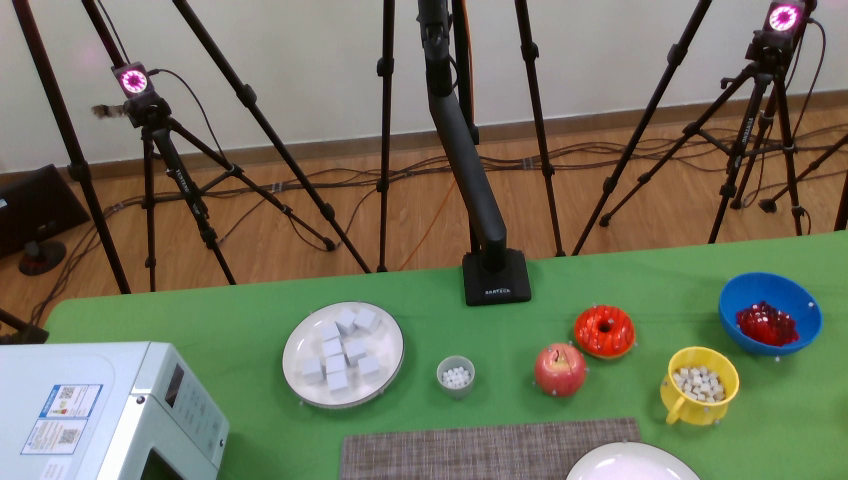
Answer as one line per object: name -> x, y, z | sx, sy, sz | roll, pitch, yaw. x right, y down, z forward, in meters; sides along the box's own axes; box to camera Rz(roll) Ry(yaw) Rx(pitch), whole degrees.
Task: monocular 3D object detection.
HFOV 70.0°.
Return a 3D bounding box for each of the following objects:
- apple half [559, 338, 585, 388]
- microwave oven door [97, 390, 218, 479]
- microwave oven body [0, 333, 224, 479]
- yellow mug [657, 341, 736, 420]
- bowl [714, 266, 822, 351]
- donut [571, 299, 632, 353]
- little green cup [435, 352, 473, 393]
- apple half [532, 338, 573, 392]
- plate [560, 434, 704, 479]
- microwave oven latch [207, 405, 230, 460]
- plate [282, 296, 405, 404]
apple half -> 0.237, 0.193, 0.957 | 0.033, 0.082, 0.080 | -14, 48, 1
microwave oven door -> -0.343, 0.392, 0.713 | 0.039, 0.246, 0.352 | -3, 48, 5
microwave oven body -> -0.486, 0.370, 0.757 | 0.326, 0.263, 0.437 | -2, 49, 5
yellow mug -> 0.402, 0.222, 0.916 | 0.131, 0.064, 0.099 | -38, 54, -23
bowl -> 0.542, 0.124, 0.978 | 0.151, 0.077, 0.150 | -4, 48, 5
donut -> 0.298, 0.144, 1.015 | 0.099, 0.049, 0.098 | -4, 50, 6
little green cup -> 0.050, 0.218, 0.984 | 0.061, 0.039, 0.061 | -4, 47, 5
apple half -> 0.198, 0.202, 0.956 | 0.053, 0.075, 0.080 | -14, 52, 1
plate -> 0.283, 0.367, 0.814 | 0.209, 0.038, 0.207 | -4, 48, 4
microwave oven latch -> -0.324, 0.297, 0.933 | 0.030, 0.030, 0.078 | 0, 49, 7
plate -> -0.134, 0.188, 1.033 | 0.207, 0.039, 0.205 | -4, 48, 4
